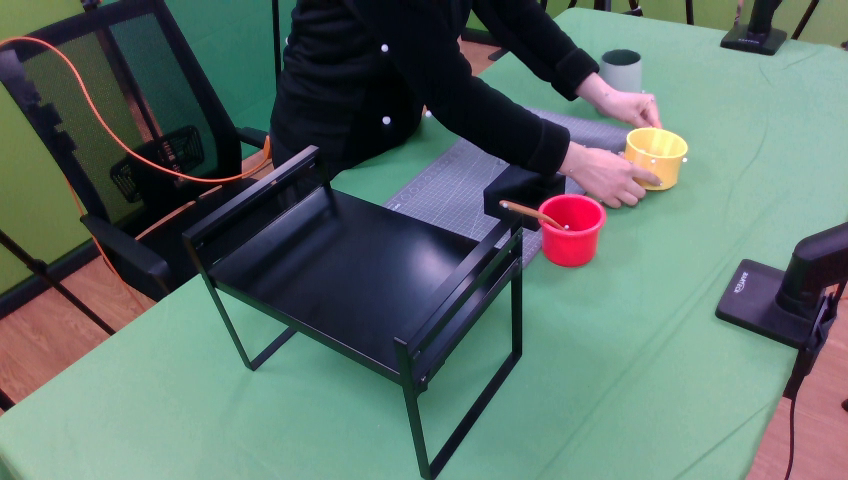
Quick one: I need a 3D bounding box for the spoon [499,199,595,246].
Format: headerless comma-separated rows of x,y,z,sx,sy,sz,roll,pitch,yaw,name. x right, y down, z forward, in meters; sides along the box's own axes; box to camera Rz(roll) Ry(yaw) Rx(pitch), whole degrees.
0.183,-0.028,0.888,0.195,0.021,0.041,23,24,-33,spoon

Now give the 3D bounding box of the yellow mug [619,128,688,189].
0.396,-0.150,1.050,0.100,0.064,0.130,10,39,9,yellow mug

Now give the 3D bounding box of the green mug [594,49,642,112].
0.397,-0.333,1.240,0.092,0.105,0.125,-2,41,7,green mug
